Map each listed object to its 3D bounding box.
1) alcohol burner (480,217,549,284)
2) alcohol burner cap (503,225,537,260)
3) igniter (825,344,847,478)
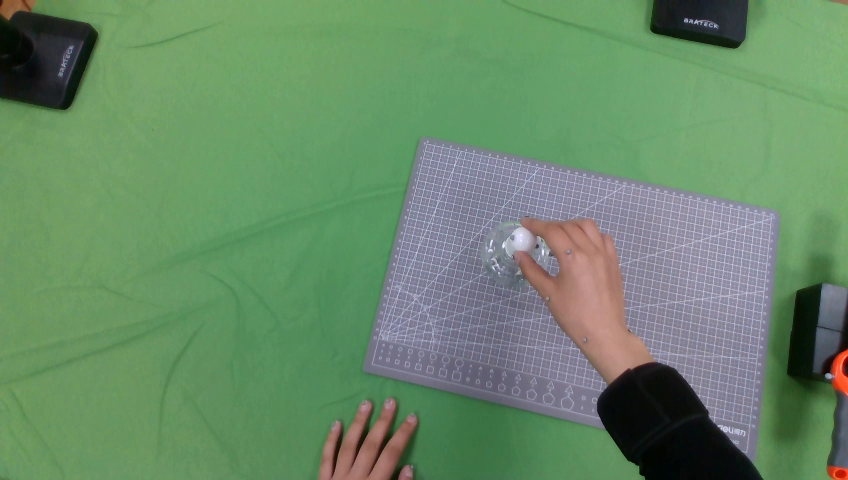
[{"bbox_3d":[0.103,0.008,0.670,0.078,0.119,0.077,1,75,-2],"label":"alcohol burner"},{"bbox_3d":[0.102,0.001,0.633,0.034,0.048,0.033,0,77,0],"label":"alcohol burner cap"},{"bbox_3d":[0.466,0.116,0.644,0.057,0.025,0.275,17,75,7],"label":"igniter"}]
